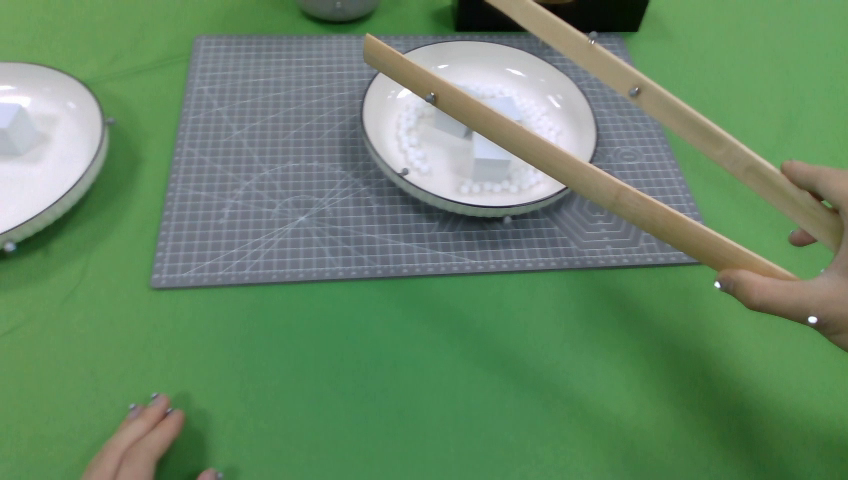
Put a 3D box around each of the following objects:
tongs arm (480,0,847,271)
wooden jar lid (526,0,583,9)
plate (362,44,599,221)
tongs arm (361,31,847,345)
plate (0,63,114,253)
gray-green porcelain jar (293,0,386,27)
[{"bbox_3d":[0.160,-0.082,0.428,0.051,0.027,0.381,-34,65,-29],"label":"tongs arm"},{"bbox_3d":[0.129,-0.276,0.629,0.108,0.021,0.107,3,56,-3],"label":"wooden jar lid"},{"bbox_3d":[0.049,-0.097,0.543,0.209,0.038,0.207,2,55,-3],"label":"plate"},{"bbox_3d":[0.109,-0.044,0.394,0.385,0.028,0.028,34,52,17],"label":"tongs arm"},{"bbox_3d":[-0.358,-0.062,0.490,0.208,0.039,0.205,2,55,-3],"label":"plate"},{"bbox_3d":[-0.090,-0.295,0.622,0.106,0.127,0.105,2,54,-2],"label":"gray-green porcelain jar"}]
